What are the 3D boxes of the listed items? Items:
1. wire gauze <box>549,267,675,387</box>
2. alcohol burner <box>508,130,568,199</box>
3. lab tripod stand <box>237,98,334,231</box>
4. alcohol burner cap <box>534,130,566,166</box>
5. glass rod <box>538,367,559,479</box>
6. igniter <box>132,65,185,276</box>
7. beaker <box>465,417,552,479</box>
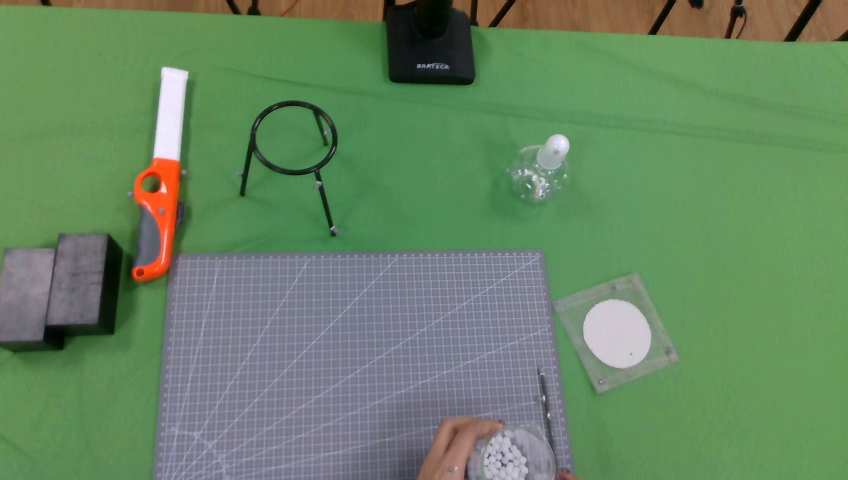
[{"bbox_3d":[0.235,0.106,0.753,0.125,0.011,0.120,-18,74,-13],"label":"wire gauze"},{"bbox_3d":[0.148,-0.100,0.757,0.078,0.119,0.077,3,67,-8],"label":"alcohol burner"},{"bbox_3d":[-0.148,-0.093,0.696,0.149,0.132,0.147,3,68,-7],"label":"lab tripod stand"},{"bbox_3d":[0.153,-0.112,0.724,0.034,0.048,0.033,2,74,-6],"label":"alcohol burner cap"},{"bbox_3d":[0.145,0.243,0.684,0.008,0.008,0.198,-1,70,-10],"label":"glass rod"},{"bbox_3d":[-0.313,-0.088,0.723,0.057,0.025,0.274,6,68,-23],"label":"igniter"},{"bbox_3d":[0.085,0.226,0.631,0.074,0.101,0.083,30,68,5],"label":"beaker"}]
